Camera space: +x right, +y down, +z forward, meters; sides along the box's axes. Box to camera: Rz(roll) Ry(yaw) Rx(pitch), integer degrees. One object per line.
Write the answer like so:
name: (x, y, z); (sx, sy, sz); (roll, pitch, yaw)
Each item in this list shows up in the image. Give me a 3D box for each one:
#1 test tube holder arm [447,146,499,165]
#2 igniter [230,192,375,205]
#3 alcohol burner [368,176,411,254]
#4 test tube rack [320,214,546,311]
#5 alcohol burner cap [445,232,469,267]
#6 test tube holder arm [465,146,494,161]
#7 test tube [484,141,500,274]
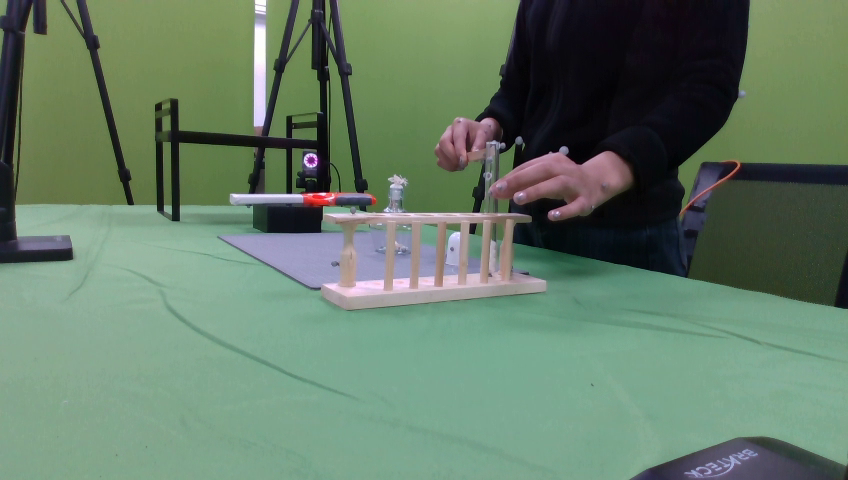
test tube holder arm: (0.070, -0.126, 0.910); (0.013, 0.015, 0.178); (-10, 6, -17)
igniter: (-0.226, -0.079, 1.161); (0.278, 0.025, 0.057); (-2, 15, -28)
alcohol burner: (-0.045, -0.038, 0.912); (0.078, 0.119, 0.078); (4, 7, 0)
test tube rack: (0.018, 0.017, 0.638); (0.244, 0.085, 0.066); (-1, 8, -31)
alcohol burner cap: (0.046, 0.013, 0.829); (0.034, 0.048, 0.034); (2, 8, 0)
test tube holder arm: (0.078, -0.123, 0.865); (0.010, 0.015, 0.087); (-10, 6, -17)
test tube: (0.075, -0.035, 0.680); (0.017, 0.150, 0.017); (1, 9, 0)
